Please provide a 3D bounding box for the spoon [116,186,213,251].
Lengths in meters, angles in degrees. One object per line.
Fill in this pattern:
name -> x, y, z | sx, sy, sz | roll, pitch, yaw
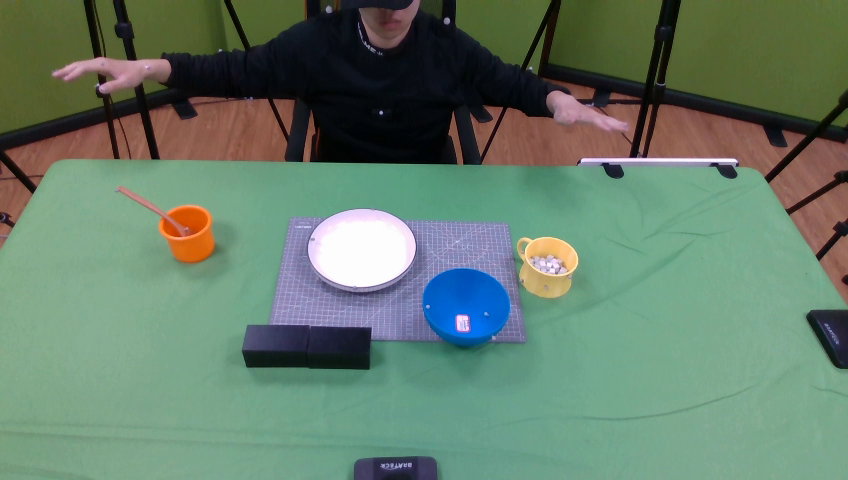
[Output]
spoon -> -0.474, -0.041, 1.112 | 0.021, 0.195, 0.041 | -31, 32, 30

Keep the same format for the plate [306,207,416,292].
plate -> -0.119, 0.021, 1.153 | 0.209, 0.038, 0.208 | 2, 46, -2

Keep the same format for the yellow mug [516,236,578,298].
yellow mug -> 0.223, 0.041, 1.145 | 0.100, 0.064, 0.130 | -30, 54, -28

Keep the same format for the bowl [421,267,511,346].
bowl -> 0.068, 0.128, 1.037 | 0.151, 0.077, 0.150 | 3, 46, -2
